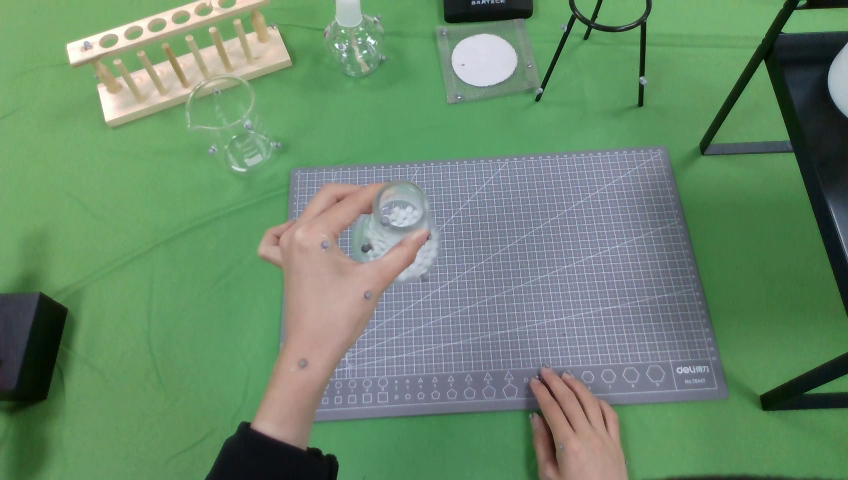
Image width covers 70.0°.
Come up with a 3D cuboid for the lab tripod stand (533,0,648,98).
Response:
[{"bbox_3d":[0.204,-0.240,0.713,0.148,0.132,0.147,0,64,0],"label":"lab tripod stand"}]

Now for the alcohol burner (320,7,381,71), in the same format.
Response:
[{"bbox_3d":[-0.093,-0.269,0.749,0.078,0.120,0.077,0,63,1],"label":"alcohol burner"}]

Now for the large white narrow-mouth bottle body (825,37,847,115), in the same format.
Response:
[{"bbox_3d":[0.395,-0.174,0.445,0.102,0.196,0.101,-1,63,1],"label":"large white narrow-mouth bottle body"}]

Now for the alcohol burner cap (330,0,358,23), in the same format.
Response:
[{"bbox_3d":[-0.094,-0.286,0.716,0.034,0.048,0.033,3,64,-6],"label":"alcohol burner cap"}]

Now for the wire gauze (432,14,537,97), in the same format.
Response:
[{"bbox_3d":[0.077,-0.245,0.789,0.121,0.011,0.124,-7,65,-3],"label":"wire gauze"}]

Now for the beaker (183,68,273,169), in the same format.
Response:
[{"bbox_3d":[-0.223,-0.133,0.698,0.073,0.101,0.084,42,73,19],"label":"beaker"}]

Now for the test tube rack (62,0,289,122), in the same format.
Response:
[{"bbox_3d":[-0.303,-0.237,0.757,0.242,0.086,0.066,-22,66,-8],"label":"test tube rack"}]

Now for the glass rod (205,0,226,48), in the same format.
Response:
[{"bbox_3d":[-0.259,-0.300,0.711,0.008,0.201,0.008,1,63,-2],"label":"glass rod"}]

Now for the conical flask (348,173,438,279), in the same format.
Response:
[{"bbox_3d":[-0.022,-0.015,0.456,0.075,0.122,0.075,1,78,-4],"label":"conical flask"}]
